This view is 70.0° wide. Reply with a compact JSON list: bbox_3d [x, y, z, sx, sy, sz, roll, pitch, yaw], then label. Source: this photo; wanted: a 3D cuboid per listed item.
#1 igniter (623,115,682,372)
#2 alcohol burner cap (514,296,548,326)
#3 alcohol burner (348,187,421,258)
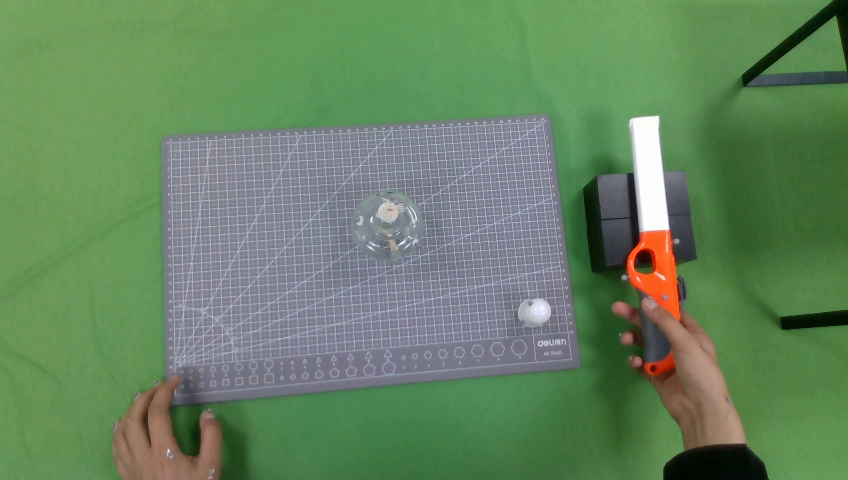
[{"bbox_3d":[0.240,0.001,0.647,0.057,0.025,0.275,-3,80,8],"label":"igniter"},{"bbox_3d":[0.119,0.077,0.663,0.034,0.048,0.033,1,80,-3],"label":"alcohol burner cap"},{"bbox_3d":[-0.041,-0.022,0.633,0.078,0.119,0.077,1,80,-5],"label":"alcohol burner"}]
